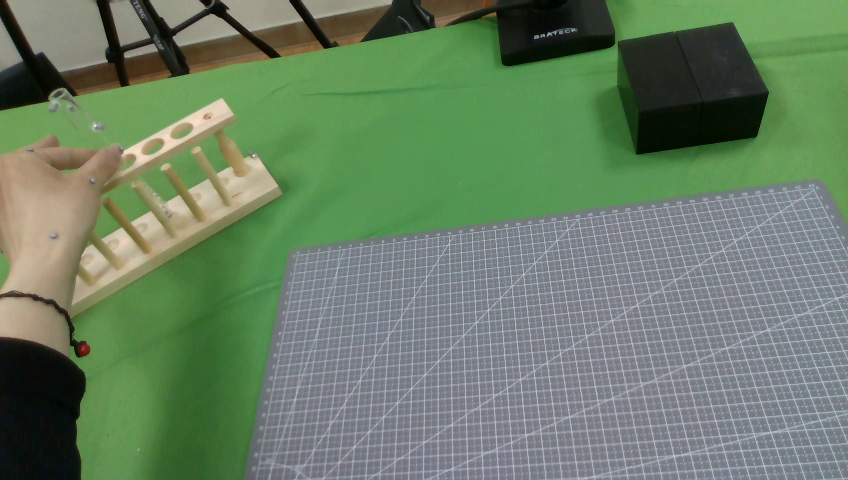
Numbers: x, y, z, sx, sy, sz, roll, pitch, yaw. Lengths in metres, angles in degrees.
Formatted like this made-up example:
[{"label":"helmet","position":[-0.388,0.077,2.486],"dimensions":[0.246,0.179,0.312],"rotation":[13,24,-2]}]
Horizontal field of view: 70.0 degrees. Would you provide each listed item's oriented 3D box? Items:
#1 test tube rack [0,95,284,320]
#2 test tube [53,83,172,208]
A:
[{"label":"test tube rack","position":[-0.266,-0.033,0.573],"dimensions":[0.242,0.086,0.066],"rotation":[-32,51,-10]},{"label":"test tube","position":[-0.274,-0.078,0.545],"dimensions":[0.017,0.152,0.017],"rotation":[-9,51,12]}]
